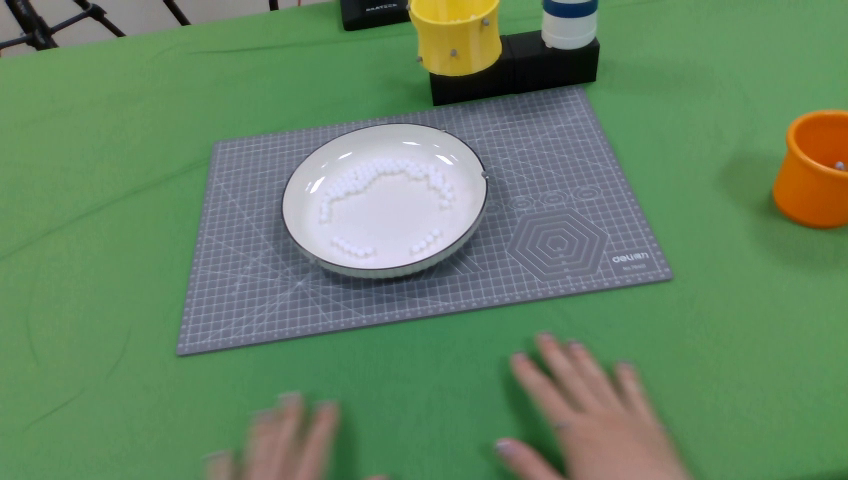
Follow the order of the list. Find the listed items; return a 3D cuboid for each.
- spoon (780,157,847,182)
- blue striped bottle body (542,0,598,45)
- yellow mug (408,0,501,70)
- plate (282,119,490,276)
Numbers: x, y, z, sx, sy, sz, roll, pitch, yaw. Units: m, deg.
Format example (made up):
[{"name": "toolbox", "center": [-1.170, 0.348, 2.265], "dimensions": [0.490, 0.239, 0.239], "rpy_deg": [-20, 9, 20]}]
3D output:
[{"name": "spoon", "center": [0.396, -0.074, 0.511], "dimensions": [0.041, 0.193, 0.022], "rpy_deg": [-34, 97, -22]}, {"name": "blue striped bottle body", "center": [0.164, -0.286, 0.672], "dimensions": [0.063, 0.122, 0.062], "rpy_deg": [-4, 50, 5]}, {"name": "yellow mug", "center": [0.027, -0.258, 0.704], "dimensions": [0.129, 0.064, 0.100], "rpy_deg": [34, 61, 32]}, {"name": "plate", "center": [-0.037, -0.043, 0.611], "dimensions": [0.207, 0.039, 0.205], "rpy_deg": [-3, 49, 4]}]
